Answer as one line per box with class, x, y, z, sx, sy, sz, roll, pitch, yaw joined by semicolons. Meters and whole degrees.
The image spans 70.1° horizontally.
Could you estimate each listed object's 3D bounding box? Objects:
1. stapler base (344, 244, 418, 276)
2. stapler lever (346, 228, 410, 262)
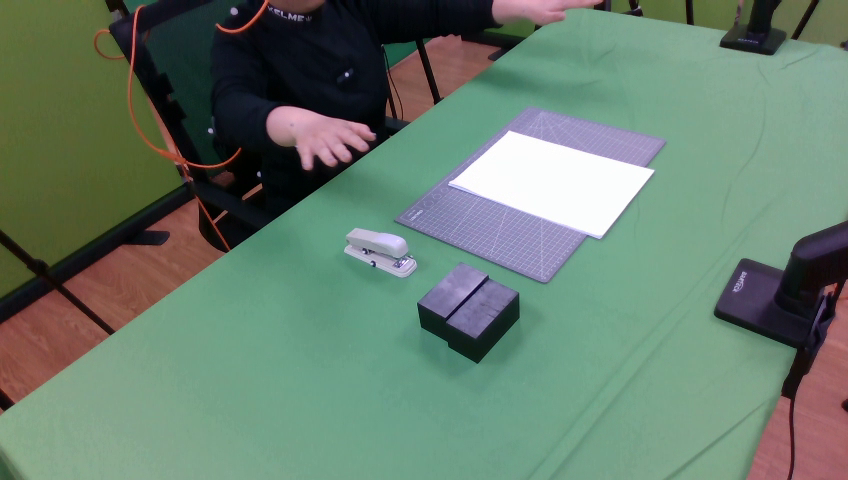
stapler base;-0.070;0.020;0.964;0.129;0.024;0.041;19;45;31
stapler lever;-0.074;0.001;0.949;0.117;0.040;0.027;20;46;30
